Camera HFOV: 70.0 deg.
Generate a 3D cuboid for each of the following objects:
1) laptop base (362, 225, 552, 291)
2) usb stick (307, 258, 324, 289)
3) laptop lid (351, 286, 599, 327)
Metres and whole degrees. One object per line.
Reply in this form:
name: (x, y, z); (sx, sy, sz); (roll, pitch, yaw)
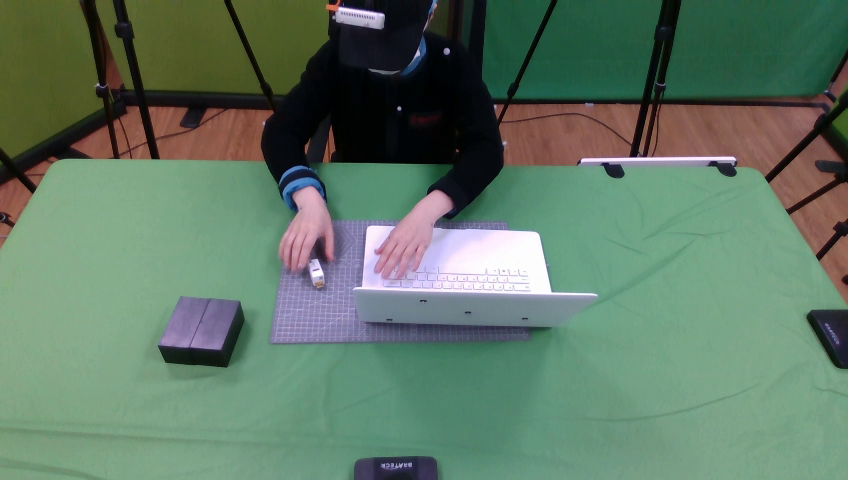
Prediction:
laptop base: (0.061, 0.063, 1.145); (0.354, 0.023, 0.234); (2, 43, -3)
usb stick: (-0.198, 0.064, 1.114); (0.021, 0.027, 0.059); (-14, 52, -17)
laptop lid: (0.068, 0.109, 0.953); (0.357, 0.242, 0.013); (2, 71, -4)
